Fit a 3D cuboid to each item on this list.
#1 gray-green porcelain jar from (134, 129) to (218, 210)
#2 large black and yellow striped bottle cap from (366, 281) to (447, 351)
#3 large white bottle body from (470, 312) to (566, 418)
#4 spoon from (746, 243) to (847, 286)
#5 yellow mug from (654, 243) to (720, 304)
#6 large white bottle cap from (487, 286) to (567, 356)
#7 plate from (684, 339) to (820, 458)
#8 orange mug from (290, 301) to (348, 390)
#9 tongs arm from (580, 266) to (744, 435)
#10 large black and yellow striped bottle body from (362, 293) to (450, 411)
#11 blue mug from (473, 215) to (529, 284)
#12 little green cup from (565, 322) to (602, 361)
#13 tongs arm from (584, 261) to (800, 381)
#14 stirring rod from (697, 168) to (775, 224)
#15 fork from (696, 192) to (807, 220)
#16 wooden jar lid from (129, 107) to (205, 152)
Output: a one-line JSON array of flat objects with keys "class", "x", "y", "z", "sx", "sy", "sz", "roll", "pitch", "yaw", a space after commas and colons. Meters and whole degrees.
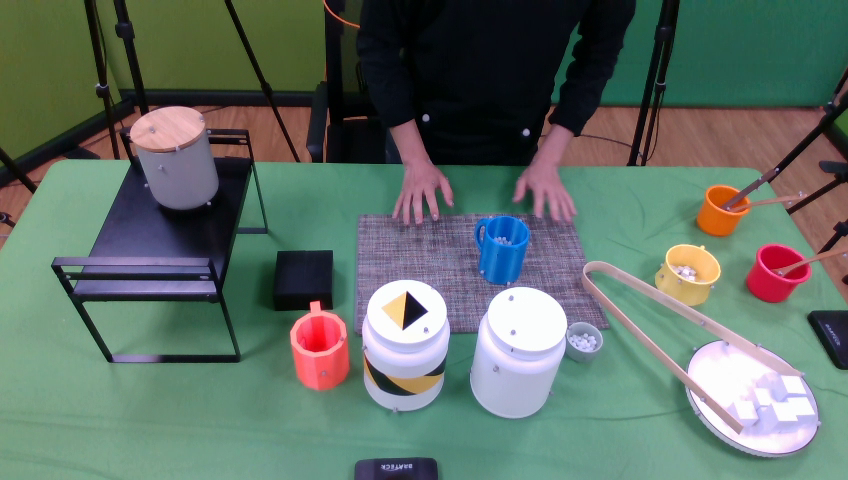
[{"class": "gray-green porcelain jar", "x": -0.388, "y": -0.120, "z": 0.960, "sx": 0.106, "sy": 0.127, "sz": 0.105, "roll": 2, "pitch": 46, "yaw": -2}, {"class": "large black and yellow striped bottle cap", "x": -0.025, "y": 0.106, "z": 0.866, "sx": 0.115, "sy": 0.019, "sz": 0.114, "roll": 2, "pitch": 46, "yaw": -1}, {"class": "large white bottle body", "x": 0.143, "y": 0.173, "z": 0.930, "sx": 0.131, "sy": 0.185, "sz": 0.130, "roll": 2, "pitch": 46, "yaw": -2}, {"class": "spoon", "x": 0.703, "y": 0.042, "z": 1.127, "sx": 0.194, "sy": 0.022, "sz": 0.041, "roll": -29, "pitch": 34, "yaw": 30}, {"class": "yellow mug", "x": 0.504, "y": 0.054, "z": 1.155, "sx": 0.099, "sy": 0.064, "sz": 0.130, "roll": 28, "pitch": 49, "yaw": 22}, {"class": "large white bottle cap", "x": 0.147, "y": 0.115, "z": 0.869, "sx": 0.115, "sy": 0.018, "sz": 0.114, "roll": 3, "pitch": 46, "yaw": -3}, {"class": "plate", "x": 0.523, "y": 0.256, "z": 0.982, "sx": 0.208, "sy": 0.039, "sz": 0.206, "roll": 2, "pitch": 46, "yaw": -2}, {"class": "orange mug", "x": -0.170, "y": 0.162, "z": 0.976, "sx": 0.083, "sy": 0.101, "sz": 0.125, "roll": -7, "pitch": 52, "yaw": -11}, {"class": "tongs arm", "x": 0.384, "y": 0.173, "z": 1.028, "sx": 0.028, "sy": 0.028, "sz": 0.385, "roll": -25, "pitch": 46, "yaw": -15}, {"class": "large black and yellow striped bottle body", "x": -0.029, "y": 0.163, "z": 0.928, "sx": 0.131, "sy": 0.185, "sz": 0.130, "roll": 2, "pitch": 47, "yaw": -2}, {"class": "blue mug", "x": 0.135, "y": 0.009, "z": 1.136, "sx": 0.082, "sy": 0.106, "sz": 0.116, "roll": -32, "pitch": 56, "yaw": -29}, {"class": "little green cup", "x": 0.270, "y": 0.176, "z": 1.039, "sx": 0.061, "sy": 0.039, "sz": 0.061, "roll": 2, "pitch": 46, "yaw": -2}, {"class": "tongs arm", "x": 0.452, "y": 0.137, "z": 1.064, "sx": 0.051, "sy": 0.027, "sz": 0.382, "roll": -34, "pitch": 50, "yaw": -27}, {"class": "stirring rod", "x": 0.644, "y": -0.090, "z": 1.252, "sx": 0.176, "sy": 0.006, "sz": 0.014, "roll": -40, "pitch": 53, "yaw": 16}, {"class": "fork", "x": 0.655, "y": -0.069, "z": 1.224, "sx": 0.207, "sy": 0.019, "sz": 0.028, "roll": -17, "pitch": 33, "yaw": 45}, {"class": "wooden jar lid", "x": -0.385, "y": -0.163, "z": 0.915, "sx": 0.108, "sy": 0.021, "sz": 0.107, "roll": 2, "pitch": 47, "yaw": -2}]
